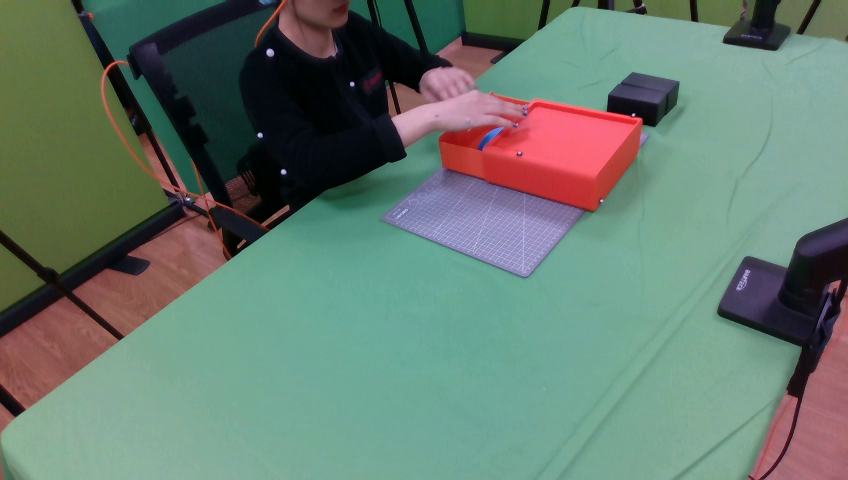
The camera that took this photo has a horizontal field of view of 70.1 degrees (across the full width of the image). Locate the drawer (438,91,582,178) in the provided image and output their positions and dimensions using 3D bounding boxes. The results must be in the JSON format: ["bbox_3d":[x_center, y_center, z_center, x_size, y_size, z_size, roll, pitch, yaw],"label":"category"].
[{"bbox_3d":[0.166,-0.188,1.123,0.210,0.073,0.195,21,48,30],"label":"drawer"}]

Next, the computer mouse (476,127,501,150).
[{"bbox_3d":[0.153,-0.191,1.150,0.062,0.041,0.117,19,43,35],"label":"computer mouse"}]

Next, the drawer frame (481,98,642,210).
[{"bbox_3d":[0.244,-0.160,1.073,0.212,0.083,0.202,20,47,29],"label":"drawer frame"}]
